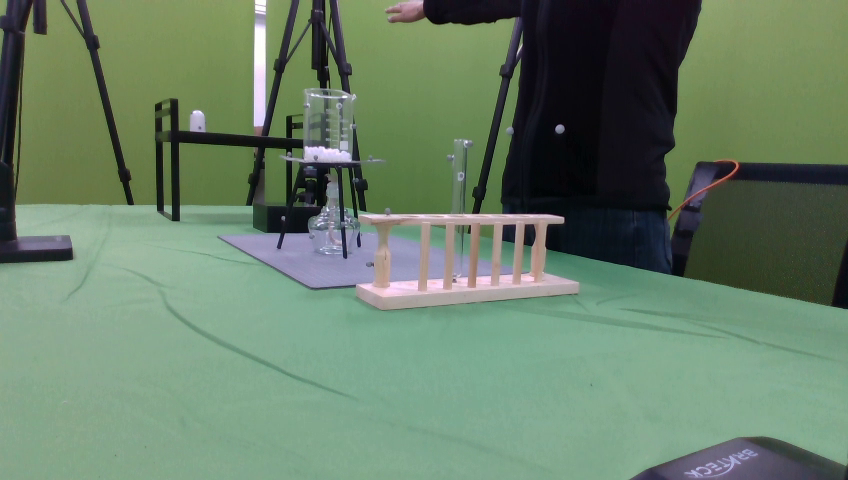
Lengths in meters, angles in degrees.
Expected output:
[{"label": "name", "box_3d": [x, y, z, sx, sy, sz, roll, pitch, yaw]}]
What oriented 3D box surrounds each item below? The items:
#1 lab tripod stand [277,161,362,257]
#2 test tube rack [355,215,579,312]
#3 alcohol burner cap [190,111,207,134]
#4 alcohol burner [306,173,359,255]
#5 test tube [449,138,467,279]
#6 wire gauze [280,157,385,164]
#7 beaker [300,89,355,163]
[{"label": "lab tripod stand", "box_3d": [-0.143, -0.049, 0.884, 0.148, 0.131, 0.148, 1, 9, 0]}, {"label": "test tube rack", "box_3d": [0.053, 0.018, 0.641, 0.243, 0.085, 0.066, -1, 8, -29]}, {"label": "alcohol burner cap", "box_3d": [-0.469, -0.244, 1.257, 0.034, 0.048, 0.034, 1, 6, 0]}, {"label": "alcohol burner", "box_3d": [-0.133, -0.038, 0.883, 0.078, 0.119, 0.078, 1, 6, 0]}, {"label": "test tube", "box_3d": [0.035, -0.033, 0.645, 0.017, 0.150, 0.017, 3, 4, 0]}, {"label": "wire gauze", "box_3d": [-0.134, -0.113, 0.875, 0.122, 0.011, 0.124, -1, 6, -30]}, {"label": "beaker", "box_3d": [-0.136, -0.161, 0.867, 0.083, 0.100, 0.074, 5, 8, 24]}]
